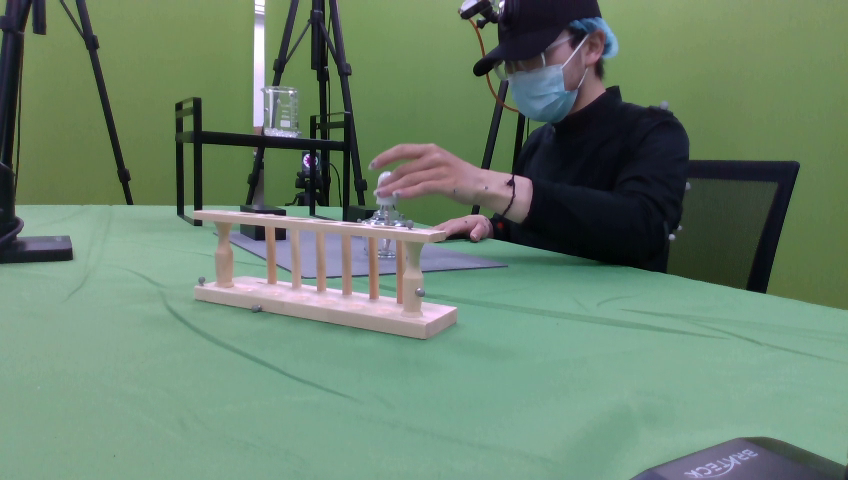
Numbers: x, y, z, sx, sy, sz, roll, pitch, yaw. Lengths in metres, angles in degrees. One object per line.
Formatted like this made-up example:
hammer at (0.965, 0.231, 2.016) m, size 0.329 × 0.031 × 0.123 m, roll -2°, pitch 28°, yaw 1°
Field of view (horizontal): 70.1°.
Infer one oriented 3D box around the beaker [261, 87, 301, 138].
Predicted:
beaker at (-0.298, -0.263, 1.255) m, size 0.084 × 0.100 × 0.073 m, roll -5°, pitch 10°, yaw -40°

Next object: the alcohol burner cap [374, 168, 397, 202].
alcohol burner cap at (-0.053, -0.078, 0.862) m, size 0.034 × 0.048 × 0.034 m, roll 7°, pitch 5°, yaw 0°

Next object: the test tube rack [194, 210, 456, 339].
test tube rack at (-0.093, 0.023, 0.545) m, size 0.241 × 0.085 × 0.067 m, roll 6°, pitch 8°, yaw 25°

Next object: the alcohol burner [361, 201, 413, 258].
alcohol burner at (-0.054, -0.033, 0.871) m, size 0.078 × 0.119 × 0.078 m, roll 1°, pitch 9°, yaw 0°
